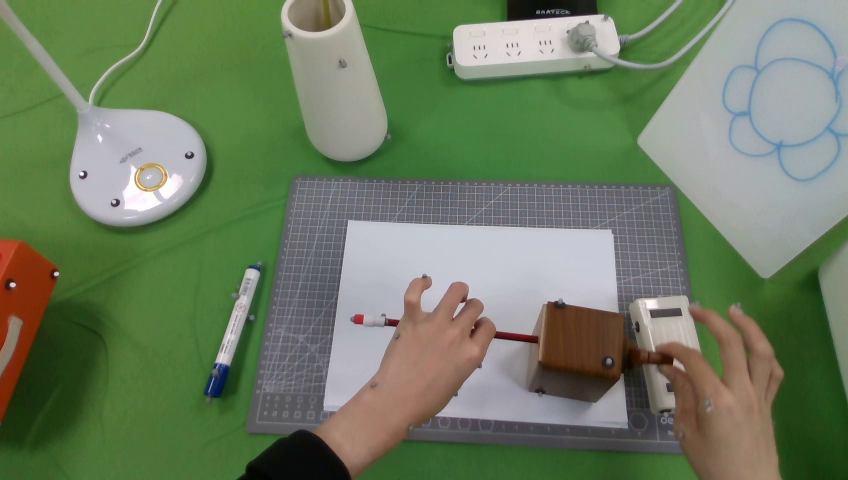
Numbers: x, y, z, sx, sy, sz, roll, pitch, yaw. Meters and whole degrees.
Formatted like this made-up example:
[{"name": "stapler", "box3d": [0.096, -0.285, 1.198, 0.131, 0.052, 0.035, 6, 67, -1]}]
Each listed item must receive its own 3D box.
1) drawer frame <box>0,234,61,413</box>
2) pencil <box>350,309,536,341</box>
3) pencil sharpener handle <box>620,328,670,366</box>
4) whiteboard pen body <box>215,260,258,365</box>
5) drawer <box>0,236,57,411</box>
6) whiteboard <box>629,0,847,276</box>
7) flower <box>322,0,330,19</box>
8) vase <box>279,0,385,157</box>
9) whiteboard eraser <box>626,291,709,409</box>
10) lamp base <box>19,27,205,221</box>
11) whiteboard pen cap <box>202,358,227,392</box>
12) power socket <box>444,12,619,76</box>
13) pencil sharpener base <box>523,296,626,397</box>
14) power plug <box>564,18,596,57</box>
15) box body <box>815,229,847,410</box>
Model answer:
[{"name": "drawer frame", "box3d": [-0.495, 0.089, 0.566, 0.213, 0.083, 0.200, 5, 65, 2]}, {"name": "pencil", "box3d": [0.029, 0.079, 0.548, 0.194, 0.012, 0.012, 7, 64, 1]}, {"name": "pencil sharpener handle", "box3d": [0.186, 0.095, 0.521, 0.030, 0.068, 0.036, 8, 78, 6]}, {"name": "whiteboard pen body", "box3d": [-0.200, 0.085, 0.637, 0.017, 0.017, 0.139, 6, 61, 6]}, {"name": "drawer", "box3d": [-0.489, 0.088, 0.565, 0.211, 0.074, 0.193, 4, 65, 4]}, {"name": "whiteboard", "box3d": [0.397, -0.148, 0.605, 0.144, 0.307, 0.215, -19, 63, -28]}, {"name": "flower", "box3d": [-0.096, -0.230, 0.596, 0.038, 0.365, 0.043, -9, 46, -10]}, {"name": "vase", "box3d": [-0.100, -0.178, 0.663, 0.098, 0.201, 0.097, -1, 63, 3]}, {"name": "whiteboard eraser", "box3d": [0.238, 0.107, 0.597, 0.055, 0.042, 0.111, -3, 64, -1]}, {"name": "lamp base", "box3d": [-0.357, -0.135, 0.661, 0.178, 0.182, 0.160, 33, 69, 20]}, {"name": "whiteboard pen cap", "box3d": [-0.210, 0.135, 0.608, 0.018, 0.018, 0.033, 6, 59, 6]}, {"name": "power socket", "box3d": [0.139, -0.253, 0.783, 0.227, 0.033, 0.071, -3, 65, 0]}, {"name": "pencil sharpener base", "box3d": [0.138, 0.103, 0.566, 0.076, 0.108, 0.061, 8, 64, 6]}, {"name": "power plug", "box3d": [0.191, -0.241, 0.749, 0.035, 0.053, 0.072, 6, 66, 6]}, {"name": "box body", "box3d": [0.520, 0.138, 0.508, 0.254, 0.161, 0.361, 1, 64, 3]}]
